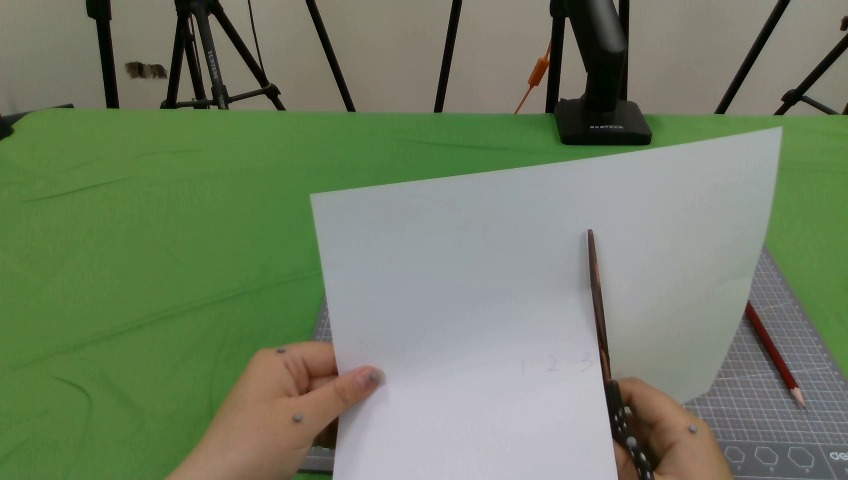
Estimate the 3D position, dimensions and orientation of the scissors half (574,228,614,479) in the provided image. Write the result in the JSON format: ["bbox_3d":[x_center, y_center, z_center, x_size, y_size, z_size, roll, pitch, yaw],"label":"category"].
[{"bbox_3d":[0.101,0.077,0.359,0.013,0.176,0.040,-11,14,-4],"label":"scissors half"}]

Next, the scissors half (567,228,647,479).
[{"bbox_3d":[0.101,0.077,0.336,0.013,0.040,0.174,-11,75,1],"label":"scissors half"}]

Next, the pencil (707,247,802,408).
[{"bbox_3d":[0.293,0.070,0.545,0.012,0.012,0.192,-1,39,0],"label":"pencil"}]
